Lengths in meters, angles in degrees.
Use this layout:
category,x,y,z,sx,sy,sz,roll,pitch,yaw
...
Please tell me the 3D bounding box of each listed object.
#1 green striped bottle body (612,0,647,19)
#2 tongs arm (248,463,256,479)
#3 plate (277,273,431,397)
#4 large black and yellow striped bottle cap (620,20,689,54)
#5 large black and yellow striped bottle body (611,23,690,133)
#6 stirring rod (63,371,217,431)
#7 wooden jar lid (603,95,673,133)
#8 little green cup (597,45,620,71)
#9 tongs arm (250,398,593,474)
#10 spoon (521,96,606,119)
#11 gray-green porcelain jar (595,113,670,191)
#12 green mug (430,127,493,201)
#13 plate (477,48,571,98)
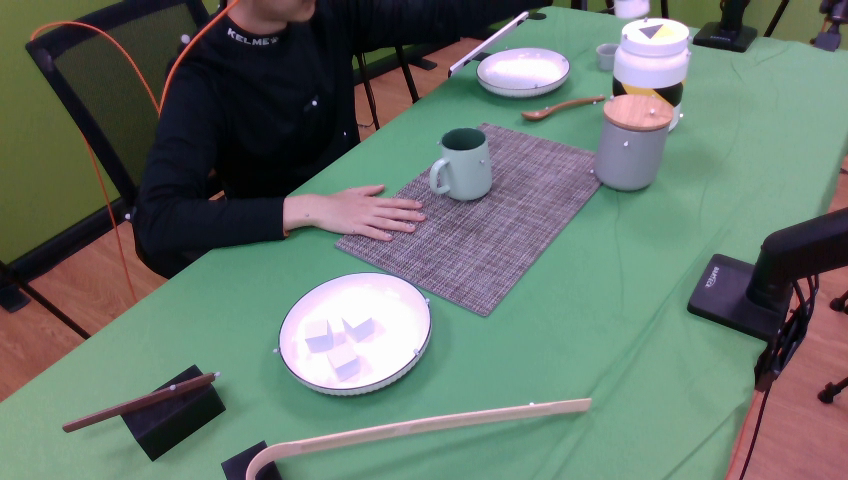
category,x,y,z,sx,sy,sz,roll,pitch,yaw
green striped bottle body,0.382,-0.486,1.139,0.063,0.120,0.063,-13,34,10
tongs arm,0.012,0.262,0.615,0.385,0.026,0.050,2,41,-2
plate,-0.092,0.129,0.821,0.207,0.039,0.206,-4,40,4
large black and yellow striped bottle cap,0.411,-0.363,1.080,0.115,0.019,0.114,-3,42,4
large black and yellow striped bottle body,0.420,-0.299,1.132,0.131,0.185,0.130,-4,41,4
stirring rod,-0.337,0.192,0.723,0.177,0.014,0.005,-18,42,-12
wooden jar lid,0.343,-0.200,0.974,0.108,0.021,0.108,-2,39,2
little green cup,0.423,-0.413,1.376,0.061,0.039,0.061,-4,41,4
tongs arm,0.008,0.212,0.675,0.389,0.028,0.028,-5,46,-11
spoon,0.291,-0.277,1.249,0.194,0.022,0.041,-18,22,-11
gray-green porcelain jar,0.346,-0.155,1.017,0.106,0.127,0.105,-2,44,2
green mug,0.059,-0.122,1.034,0.126,0.105,0.091,-35,48,-28
plate,0.223,-0.371,1.357,0.209,0.038,0.208,-4,41,4
